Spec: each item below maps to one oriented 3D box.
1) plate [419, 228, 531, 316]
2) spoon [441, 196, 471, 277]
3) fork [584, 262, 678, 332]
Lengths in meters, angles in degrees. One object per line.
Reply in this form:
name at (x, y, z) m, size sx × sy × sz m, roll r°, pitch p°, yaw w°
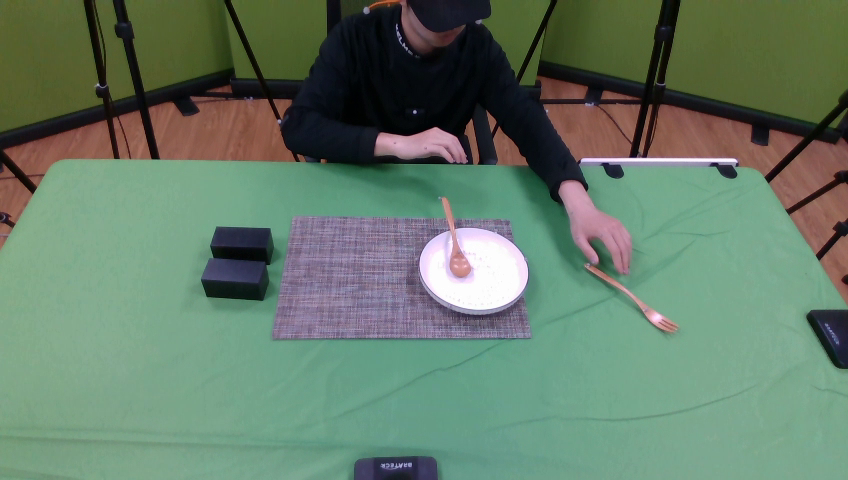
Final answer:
plate at (0.093, 0.062, 1.130) m, size 0.208 × 0.039 × 0.206 m, roll 2°, pitch 46°, yaw -2°
spoon at (0.056, -0.010, 1.176) m, size 0.041 × 0.022 × 0.192 m, roll -7°, pitch 60°, yaw -6°
fork at (0.381, 0.103, 1.130) m, size 0.028 × 0.019 × 0.206 m, roll -36°, pitch 59°, yaw -20°
